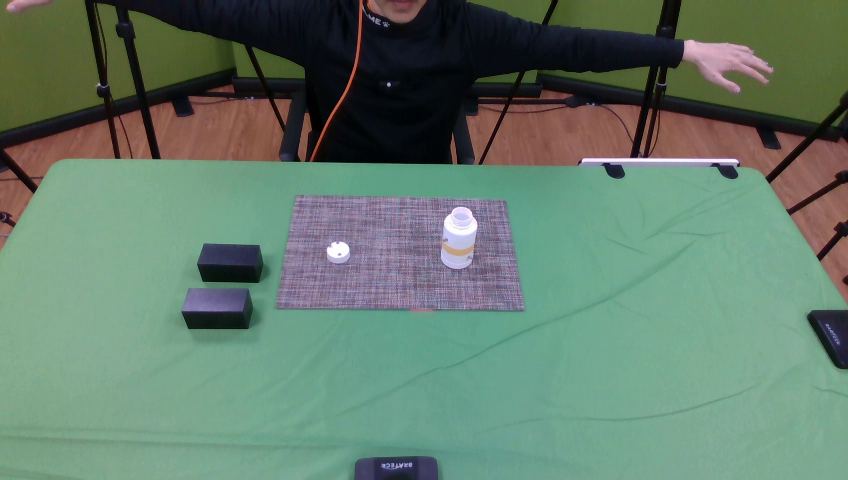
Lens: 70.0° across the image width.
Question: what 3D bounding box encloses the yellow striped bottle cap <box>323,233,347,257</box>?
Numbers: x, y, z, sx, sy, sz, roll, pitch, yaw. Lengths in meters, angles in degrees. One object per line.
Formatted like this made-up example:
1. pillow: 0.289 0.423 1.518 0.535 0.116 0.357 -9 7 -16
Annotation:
1. yellow striped bottle cap: -0.168 0.010 1.143 0.044 0.019 0.044 3 55 -4

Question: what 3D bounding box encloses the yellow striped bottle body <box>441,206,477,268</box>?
1. yellow striped bottle body: 0.066 -0.009 1.135 0.063 0.121 0.062 2 47 -2
